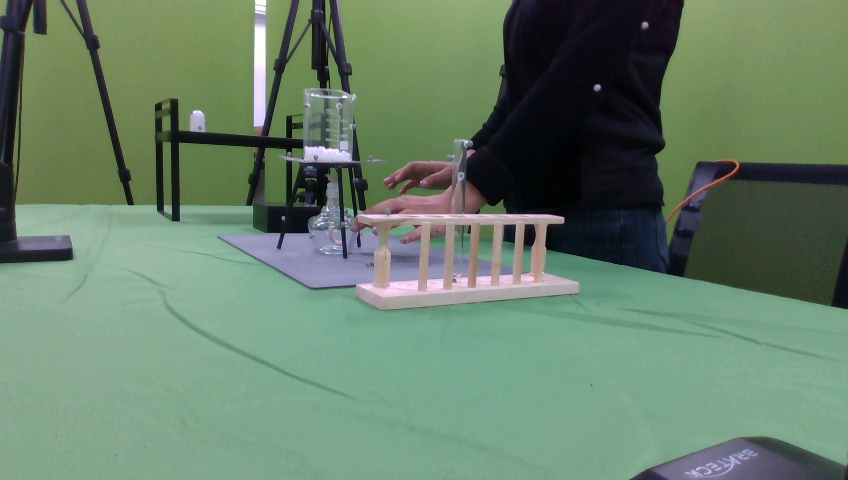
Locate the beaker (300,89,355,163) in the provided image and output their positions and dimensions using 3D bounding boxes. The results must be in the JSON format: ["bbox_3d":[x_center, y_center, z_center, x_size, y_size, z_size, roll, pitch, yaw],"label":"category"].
[{"bbox_3d":[-0.136,-0.161,0.867,0.083,0.100,0.074,5,8,24],"label":"beaker"}]

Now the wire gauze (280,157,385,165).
[{"bbox_3d":[-0.134,-0.113,0.875,0.122,0.011,0.124,-1,6,-30],"label":"wire gauze"}]

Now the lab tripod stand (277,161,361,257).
[{"bbox_3d":[-0.143,-0.049,0.884,0.148,0.131,0.148,1,9,0],"label":"lab tripod stand"}]

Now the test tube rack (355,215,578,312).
[{"bbox_3d":[0.053,0.018,0.641,0.243,0.085,0.066,-1,8,-29],"label":"test tube rack"}]

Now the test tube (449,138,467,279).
[{"bbox_3d":[0.035,-0.033,0.645,0.017,0.150,0.017,3,4,0],"label":"test tube"}]

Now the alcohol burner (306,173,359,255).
[{"bbox_3d":[-0.133,-0.038,0.883,0.078,0.119,0.078,1,6,0],"label":"alcohol burner"}]

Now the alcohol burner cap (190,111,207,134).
[{"bbox_3d":[-0.469,-0.244,1.257,0.034,0.048,0.034,1,6,0],"label":"alcohol burner cap"}]
